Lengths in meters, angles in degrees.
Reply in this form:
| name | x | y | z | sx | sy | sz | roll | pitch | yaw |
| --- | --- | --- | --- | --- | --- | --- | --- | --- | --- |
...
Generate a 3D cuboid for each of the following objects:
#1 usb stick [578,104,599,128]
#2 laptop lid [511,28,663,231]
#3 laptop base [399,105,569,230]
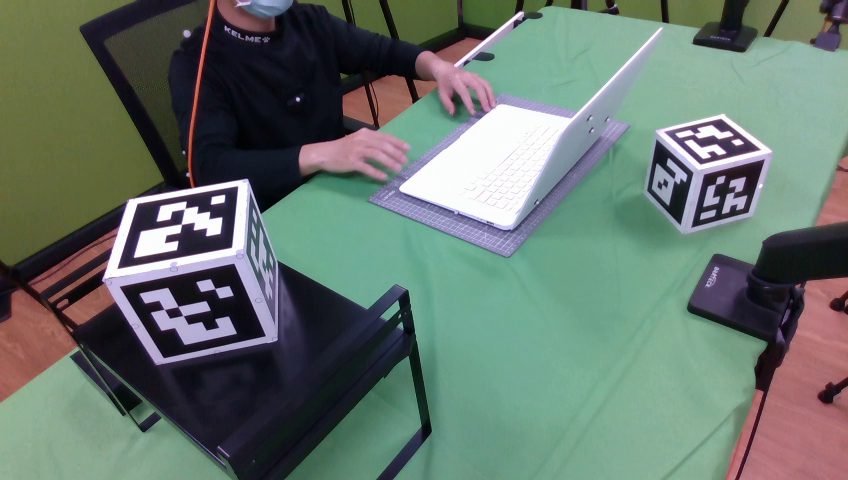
| name | x | y | z | sx | sy | sz | roll | pitch | yaw |
| --- | --- | --- | --- | --- | --- | --- | --- | --- | --- |
| usb stick | 0.322 | -0.242 | 1.189 | 0.021 | 0.027 | 0.059 | 23 | 52 | 30 |
| laptop lid | 0.265 | -0.179 | 0.972 | 0.013 | 0.242 | 0.357 | 36 | 53 | 14 |
| laptop base | 0.149 | -0.147 | 1.123 | 0.233 | 0.023 | 0.355 | 20 | 47 | 32 |
